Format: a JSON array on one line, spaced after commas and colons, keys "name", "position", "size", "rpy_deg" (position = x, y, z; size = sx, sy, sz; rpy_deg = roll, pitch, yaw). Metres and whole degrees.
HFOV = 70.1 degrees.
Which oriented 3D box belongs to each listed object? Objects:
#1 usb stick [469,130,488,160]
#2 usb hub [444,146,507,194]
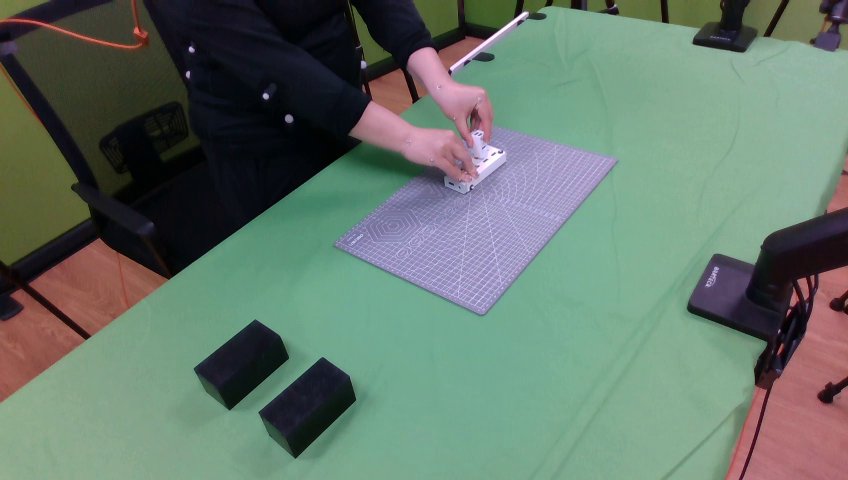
[{"name": "usb stick", "position": [0.099, -0.166, 1.092], "size": [0.027, 0.059, 0.021], "rpy_deg": [23, 50, 31]}, {"name": "usb hub", "position": [0.095, -0.129, 1.102], "size": [0.049, 0.025, 0.125], "rpy_deg": [27, 52, 33]}]
